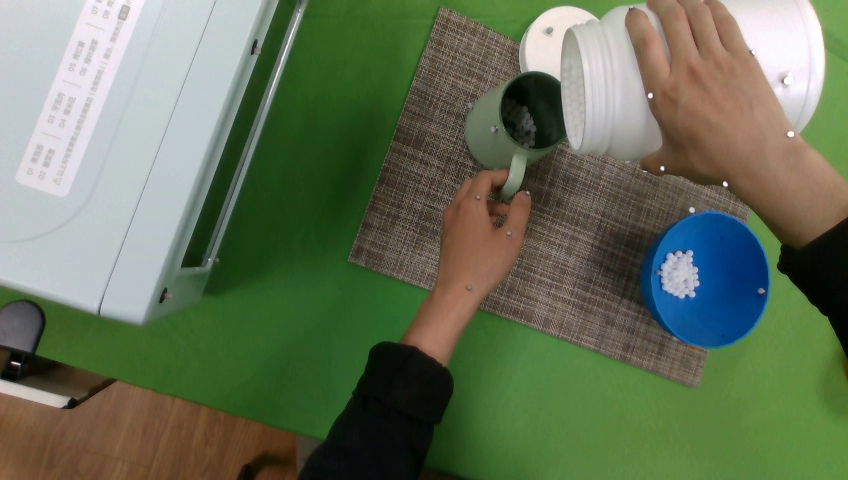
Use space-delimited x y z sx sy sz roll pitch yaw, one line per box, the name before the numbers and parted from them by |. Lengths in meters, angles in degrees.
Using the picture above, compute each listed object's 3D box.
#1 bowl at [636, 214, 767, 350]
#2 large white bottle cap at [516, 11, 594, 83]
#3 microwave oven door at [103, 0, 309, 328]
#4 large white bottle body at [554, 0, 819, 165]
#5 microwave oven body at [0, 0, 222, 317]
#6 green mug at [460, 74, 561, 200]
bowl | 0.301 0.047 0.695 0.152 0.076 0.151 1 88 -13
large white bottle cap | 0.163 -0.206 0.700 0.115 0.018 0.114 1 88 -14
microwave oven door | -0.155 -0.111 0.492 0.039 0.243 0.355 19 84 -11
large white bottle body | 0.214 -0.135 0.523 0.184 0.130 0.130 -6 89 3
microwave oven body | -0.278 -0.199 0.470 0.327 0.259 0.441 20 85 -13
green mug | 0.090 -0.103 0.635 0.093 0.104 0.125 12 85 -13
